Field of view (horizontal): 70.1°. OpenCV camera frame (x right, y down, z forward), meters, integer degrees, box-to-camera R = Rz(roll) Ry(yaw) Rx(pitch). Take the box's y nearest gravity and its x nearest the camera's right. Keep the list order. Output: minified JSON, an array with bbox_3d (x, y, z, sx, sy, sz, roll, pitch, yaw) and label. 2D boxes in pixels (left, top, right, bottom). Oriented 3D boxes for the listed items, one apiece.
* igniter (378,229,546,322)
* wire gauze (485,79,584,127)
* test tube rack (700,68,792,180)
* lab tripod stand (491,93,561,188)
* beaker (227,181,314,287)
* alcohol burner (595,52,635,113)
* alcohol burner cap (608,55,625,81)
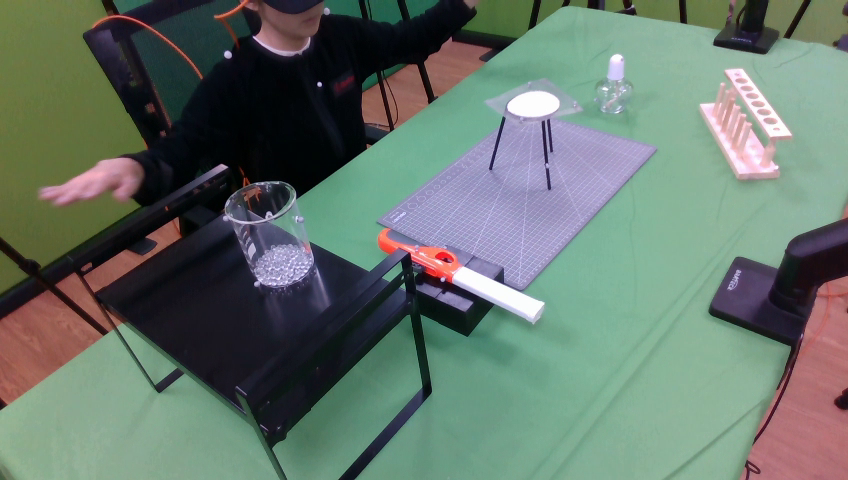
[{"bbox_3d":[0.041,0.043,0.843,0.274,0.025,0.057,24,47,29],"label":"igniter"},{"bbox_3d":[0.185,-0.232,1.023,0.125,0.011,0.120,-20,42,-12],"label":"wire gauze"},{"bbox_3d":[0.572,-0.215,1.090,0.066,0.085,0.241,-3,41,7],"label":"test tube rack"},{"bbox_3d":[0.189,-0.180,1.066,0.148,0.132,0.147,-5,42,5],"label":"lab tripod stand"},{"bbox_3d":[-0.166,-0.006,0.670,0.074,0.101,0.083,-8,40,0],"label":"beaker"},{"bbox_3d":[0.386,-0.319,1.217,0.078,0.119,0.077,-5,39,4],"label":"alcohol burner"},{"bbox_3d":[0.383,-0.343,1.198,0.034,0.048,0.033,-5,41,5],"label":"alcohol burner cap"}]
